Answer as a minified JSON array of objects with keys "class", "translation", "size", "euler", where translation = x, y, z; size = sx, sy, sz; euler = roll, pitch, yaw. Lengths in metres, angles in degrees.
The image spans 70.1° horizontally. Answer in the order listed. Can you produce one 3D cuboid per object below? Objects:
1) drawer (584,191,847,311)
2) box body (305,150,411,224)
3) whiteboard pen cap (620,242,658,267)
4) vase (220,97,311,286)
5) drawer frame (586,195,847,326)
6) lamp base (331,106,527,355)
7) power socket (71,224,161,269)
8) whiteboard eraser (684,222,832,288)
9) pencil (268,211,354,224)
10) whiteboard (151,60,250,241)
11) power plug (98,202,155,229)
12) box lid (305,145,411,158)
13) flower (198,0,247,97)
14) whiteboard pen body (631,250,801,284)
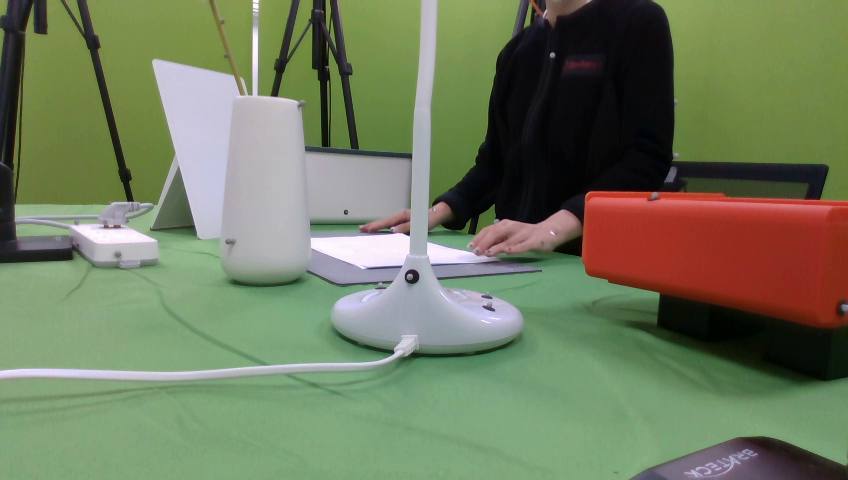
[{"class":"drawer","translation":[0.280,0.001,0.513],"size":[0.195,0.073,0.211],"euler":[0,8,-28]},{"class":"box body","translation":[-0.233,-0.127,1.374],"size":[0.366,0.160,0.253],"euler":[-2,8,-29]},{"class":"whiteboard pen cap","translation":[0.199,0.014,0.557],"size":[0.018,0.018,0.033],"euler":[-4,16,-39]},{"class":"vase","translation":[-0.172,-0.052,0.662],"size":[0.098,0.200,0.098],"euler":[3,8,0]},{"class":"drawer frame","translation":[0.284,0.004,0.508],"size":[0.203,0.082,0.212],"euler":[-1,6,-28]},{"class":"lamp base","translation":[0.006,-0.012,0.478],"size":[0.161,0.180,0.179],"euler":[2,10,2]},{"class":"power socket","translation":[-0.408,0.004,0.793],"size":[0.072,0.032,0.225],"euler":[-2,8,-38]},{"class":"whiteboard eraser","translation":[0.304,0.013,0.558],"size":[0.056,0.042,0.112],"euler":[-10,20,-30]},{"class":"pencil","translation":[-0.247,-0.048,1.336],"size":[0.195,0.012,0.012],"euler":[6,5,-26]},{"class":"whiteboard","translation":[-0.408,-0.140,1.094],"size":[0.143,0.305,0.218],"euler":[-15,0,25]},{"class":"power plug","translation":[-0.416,-0.027,0.848],"size":[0.073,0.052,0.035],"euler":[0,8,-28]},{"class":"box lid","translation":[-0.232,-0.200,1.363],"size":[0.373,0.015,0.262],"euler":[0,7,-29]},{"class":"flower","translation":[-0.187,-0.133,0.648],"size":[0.038,0.362,0.044],"euler":[0,22,43]},{"class":"whiteboard pen body","translation":[0.240,0.020,0.512],"size":[0.017,0.017,0.140],"euler":[-4,8,-41]}]
